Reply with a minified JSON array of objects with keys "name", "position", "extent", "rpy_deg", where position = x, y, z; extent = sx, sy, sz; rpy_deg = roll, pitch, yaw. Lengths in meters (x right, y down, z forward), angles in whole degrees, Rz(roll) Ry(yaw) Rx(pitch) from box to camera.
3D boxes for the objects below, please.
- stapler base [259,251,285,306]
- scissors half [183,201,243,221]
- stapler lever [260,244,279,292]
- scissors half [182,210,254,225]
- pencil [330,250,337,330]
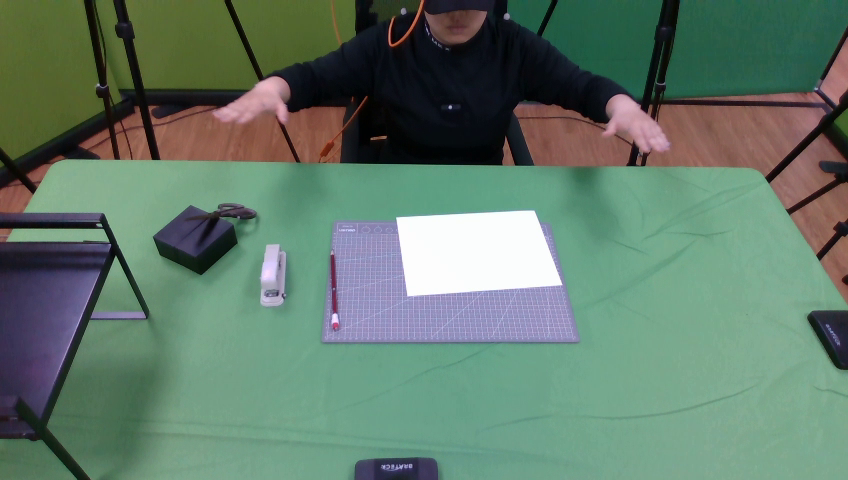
[{"name":"stapler base","position":[-0.279,0.064,1.113],"extent":[0.041,0.024,0.129],"rpy_deg":[-2,44,-9]},{"name":"scissors half","position":[-0.405,-0.054,1.163],"extent":[0.040,0.013,0.175],"rpy_deg":[31,18,6]},{"name":"stapler lever","position":[-0.279,0.045,1.096],"extent":[0.027,0.040,0.117],"rpy_deg":[-2,44,-9]},{"name":"scissors half","position":[-0.390,-0.042,1.158],"extent":[0.040,0.013,0.175],"rpy_deg":[42,22,21]},{"name":"pencil","position":[-0.167,0.086,1.107],"extent":[0.012,0.012,0.192],"rpy_deg":[-3,45,-7]}]
